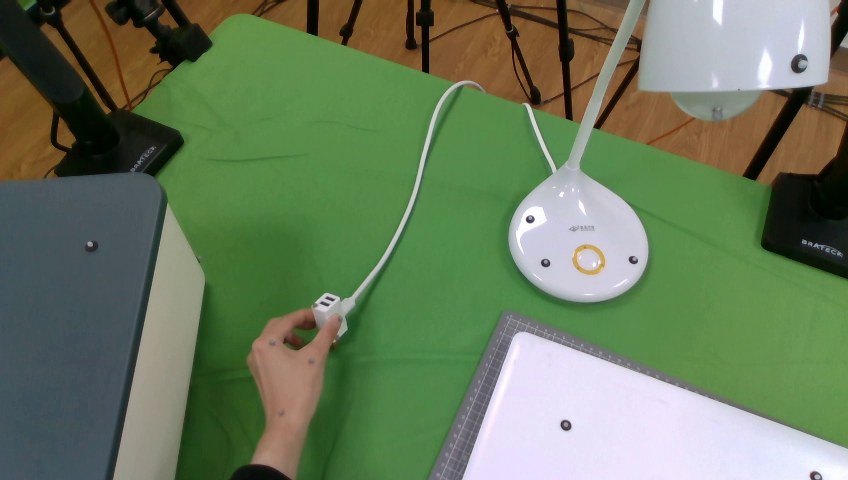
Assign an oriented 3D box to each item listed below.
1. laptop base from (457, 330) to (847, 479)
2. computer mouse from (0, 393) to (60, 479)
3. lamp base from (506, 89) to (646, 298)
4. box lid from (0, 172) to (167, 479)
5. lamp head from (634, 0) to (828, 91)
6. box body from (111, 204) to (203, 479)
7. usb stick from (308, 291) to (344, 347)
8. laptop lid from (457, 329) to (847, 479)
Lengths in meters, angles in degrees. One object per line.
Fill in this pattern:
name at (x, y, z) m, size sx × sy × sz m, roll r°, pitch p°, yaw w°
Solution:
laptop base at (0.211, 0.242, 0.555) m, size 0.353 × 0.023 × 0.234 m, roll 19°, pitch 63°, yaw 11°
computer mouse at (-0.388, 0.184, 0.566) m, size 0.063 × 0.041 × 0.116 m, roll -29°, pitch 22°, yaw -6°
lamp base at (0.171, -0.055, 0.644) m, size 0.161 × 0.182 × 0.177 m, roll -13°, pitch 56°, yaw -8°
box lid at (-0.359, 0.097, 0.474) m, size 0.263 × 0.015 × 0.368 m, roll -3°, pitch 59°, yaw -2°
lamp head at (0.189, -0.156, 0.378) m, size 0.112 × 0.112 × 0.123 m, roll -6°, pitch 102°, yaw -3°
box body at (-0.359, 0.138, 0.535) m, size 0.254 × 0.162 × 0.360 m, roll -3°, pitch 58°, yaw -2°
usb stick at (-0.101, 0.085, 0.633) m, size 0.021 × 0.059 × 0.027 m, roll 16°, pitch 38°, yaw 28°
laptop lid at (0.210, 0.238, 0.544) m, size 0.355 × 0.013 × 0.240 m, roll 20°, pitch 63°, yaw 12°
